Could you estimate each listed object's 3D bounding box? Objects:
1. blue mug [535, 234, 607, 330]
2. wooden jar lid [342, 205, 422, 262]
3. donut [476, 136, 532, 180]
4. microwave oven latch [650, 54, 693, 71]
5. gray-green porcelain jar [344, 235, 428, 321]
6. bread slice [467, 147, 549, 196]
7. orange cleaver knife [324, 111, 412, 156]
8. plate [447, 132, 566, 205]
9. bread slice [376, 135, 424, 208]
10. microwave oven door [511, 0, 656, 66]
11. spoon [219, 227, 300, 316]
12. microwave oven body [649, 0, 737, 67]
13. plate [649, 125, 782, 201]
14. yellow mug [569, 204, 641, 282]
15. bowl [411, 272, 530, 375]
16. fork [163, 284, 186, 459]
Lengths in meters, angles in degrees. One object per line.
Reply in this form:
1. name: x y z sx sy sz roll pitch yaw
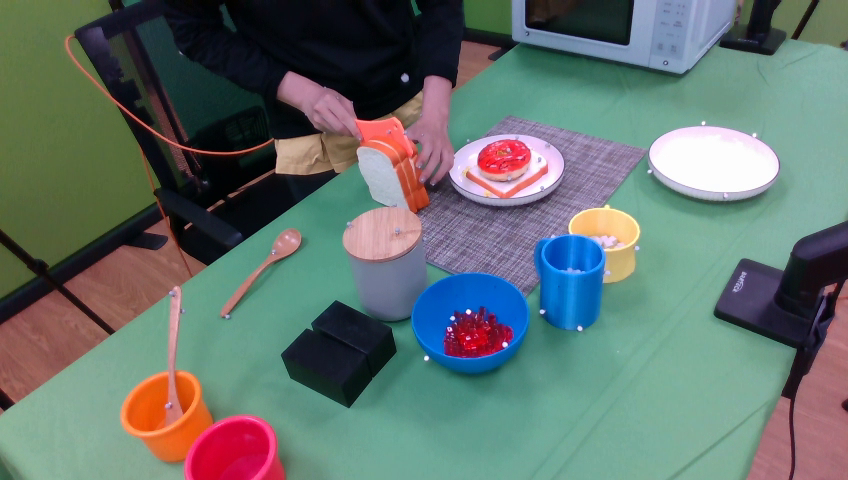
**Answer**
1. blue mug: 0.191 0.048 0.824 0.082 0.106 0.115 -26 44 -20
2. wooden jar lid: -0.055 -0.005 0.808 0.108 0.021 0.108 -6 40 6
3. donut: 0.140 -0.146 1.059 0.099 0.048 0.098 -7 41 6
4. microwave oven latch: 0.531 -0.386 1.301 0.078 0.029 0.030 26 51 33
5. gray-green porcelain jar: -0.049 0.042 0.849 0.106 0.127 0.105 -4 41 4
6. bread slice: 0.156 -0.128 1.084 0.132 0.019 0.104 -34 49 -23
7. orange cleaver knife: -0.099 -0.184 1.033 0.209 0.077 0.012 18 43 41
8. plate: 0.146 -0.124 1.076 0.209 0.038 0.208 -4 41 4
9. bread slice: -0.044 -0.125 1.039 0.018 0.135 0.106 -31 45 -32
10. microwave oven door: 0.351 -0.540 1.349 0.353 0.245 0.039 24 50 31
11. spoon: -0.261 0.046 0.954 0.041 0.021 0.194 27 48 10
12. microwave oven body: 0.475 -0.602 1.411 0.438 0.261 0.327 23 50 32
13. plate: 0.493 -0.127 1.036 0.207 0.039 0.206 -4 41 4
14. yellow mug: 0.268 -0.005 0.904 0.099 0.064 0.130 7 42 15
15. bowl: 0.061 0.120 0.780 0.151 0.077 0.150 -4 40 4
16. fork: -0.302 0.157 0.733 0.028 0.019 0.207 -3 84 15
